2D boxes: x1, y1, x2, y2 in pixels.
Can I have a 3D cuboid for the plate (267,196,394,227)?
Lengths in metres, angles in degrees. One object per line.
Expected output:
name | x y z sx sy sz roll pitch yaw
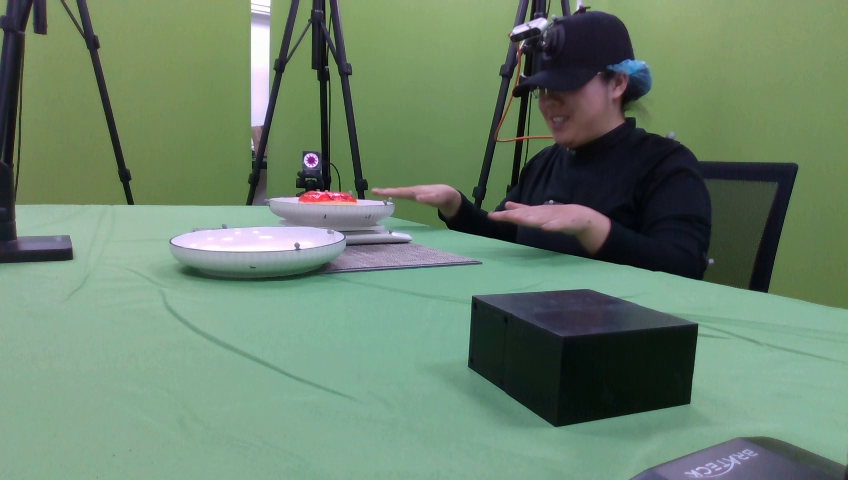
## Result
plate | -0.152 -0.047 0.998 0.208 0.039 0.207 2 7 0

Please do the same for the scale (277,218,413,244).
scale | -0.134 -0.016 1.015 0.202 0.031 0.148 -2 9 -33

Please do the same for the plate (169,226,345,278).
plate | -0.202 0.013 0.748 0.209 0.038 0.209 1 9 0

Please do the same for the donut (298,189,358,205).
donut | -0.158 -0.059 0.996 0.099 0.048 0.099 2 4 0
